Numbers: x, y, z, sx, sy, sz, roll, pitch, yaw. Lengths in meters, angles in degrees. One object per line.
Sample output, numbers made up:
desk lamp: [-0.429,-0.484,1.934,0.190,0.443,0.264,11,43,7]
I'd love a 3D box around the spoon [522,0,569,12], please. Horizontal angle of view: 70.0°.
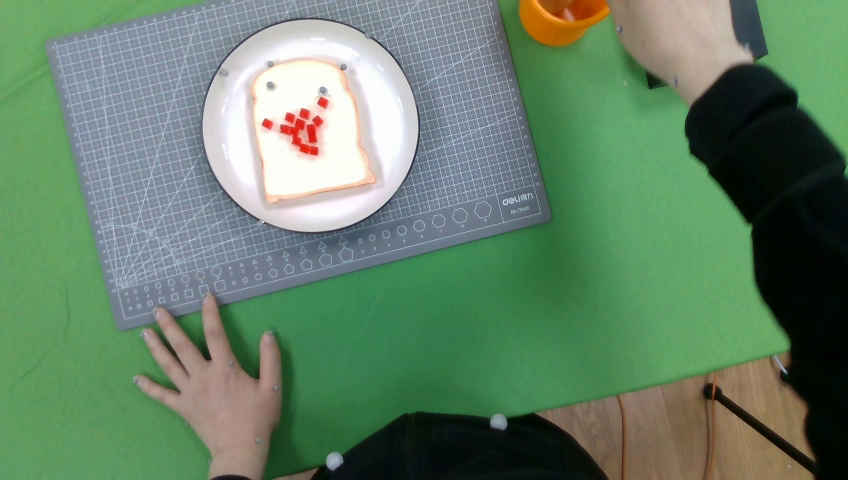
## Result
spoon: [0.174,-0.243,0.557,0.022,0.192,0.041,14,84,-46]

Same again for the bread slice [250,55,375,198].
bread slice: [-0.117,-0.113,0.596,0.107,0.018,0.134,-14,89,-4]

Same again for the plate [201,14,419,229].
plate: [-0.108,-0.113,0.596,0.209,0.038,0.209,0,89,-2]
